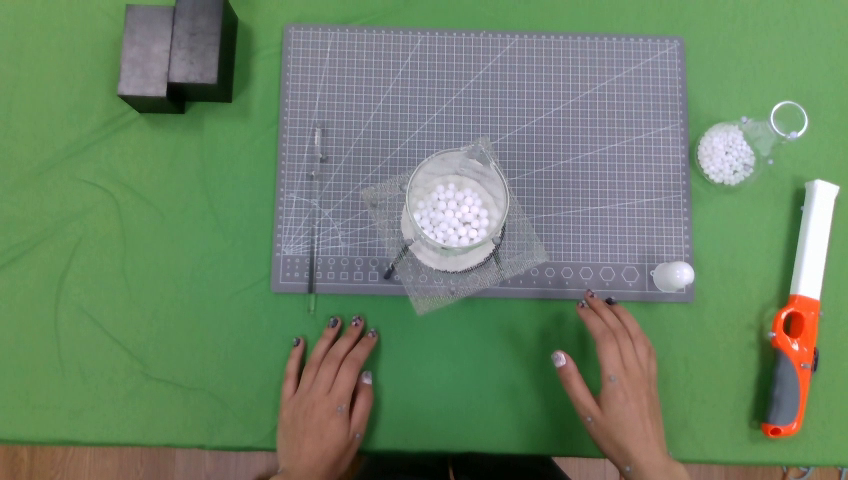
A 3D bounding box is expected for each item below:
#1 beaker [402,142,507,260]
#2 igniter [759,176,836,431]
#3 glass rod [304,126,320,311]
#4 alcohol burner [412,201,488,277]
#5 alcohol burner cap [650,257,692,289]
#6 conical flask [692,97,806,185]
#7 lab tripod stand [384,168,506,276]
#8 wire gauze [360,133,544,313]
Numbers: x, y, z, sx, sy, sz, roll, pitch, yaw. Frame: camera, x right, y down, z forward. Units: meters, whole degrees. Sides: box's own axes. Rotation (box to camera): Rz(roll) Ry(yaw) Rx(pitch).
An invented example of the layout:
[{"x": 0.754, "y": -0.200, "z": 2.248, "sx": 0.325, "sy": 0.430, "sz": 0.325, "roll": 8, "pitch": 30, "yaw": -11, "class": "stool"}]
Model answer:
[{"x": 0.022, "y": -0.026, "z": 0.473, "sx": 0.074, "sy": 0.100, "sz": 0.084, "roll": 23, "pitch": 82, "yaw": 2, "class": "beaker"}, {"x": 0.396, "y": 0.067, "z": 0.640, "sx": 0.057, "sy": 0.025, "sz": 0.276, "roll": 16, "pitch": 82, "yaw": -9, "class": "igniter"}, {"x": -0.119, "y": -0.024, "z": 0.647, "sx": 0.008, "sy": 0.008, "sz": 0.199, "roll": 2, "pitch": 85, "yaw": -1, "class": "glass rod"}, {"x": 0.025, "y": -0.004, "z": 0.595, "sx": 0.078, "sy": 0.119, "sz": 0.077, "roll": 0, "pitch": 81, "yaw": 1, "class": "alcohol burner"}, {"x": 0.260, "y": 0.033, "z": 0.631, "sx": 0.034, "sy": 0.048, "sz": 0.033, "roll": 0, "pitch": 82, "yaw": -1, "class": "alcohol burner cap"}, {"x": 0.332, "y": -0.105, "z": 0.614, "sx": 0.075, "sy": 0.122, "sz": 0.075, "roll": 0, "pitch": 81, "yaw": 0, "class": "conical flask"}, {"x": 0.022, "y": -0.006, "z": 0.585, "sx": 0.148, "sy": 0.132, "sz": 0.148, "roll": 0, "pitch": 84, "yaw": -1, "class": "lab tripod stand"}, {"x": 0.024, "y": -0.015, "z": 0.520, "sx": 0.125, "sy": 0.011, "sz": 0.121, "roll": -24, "pitch": 86, "yaw": -6, "class": "wire gauze"}]
